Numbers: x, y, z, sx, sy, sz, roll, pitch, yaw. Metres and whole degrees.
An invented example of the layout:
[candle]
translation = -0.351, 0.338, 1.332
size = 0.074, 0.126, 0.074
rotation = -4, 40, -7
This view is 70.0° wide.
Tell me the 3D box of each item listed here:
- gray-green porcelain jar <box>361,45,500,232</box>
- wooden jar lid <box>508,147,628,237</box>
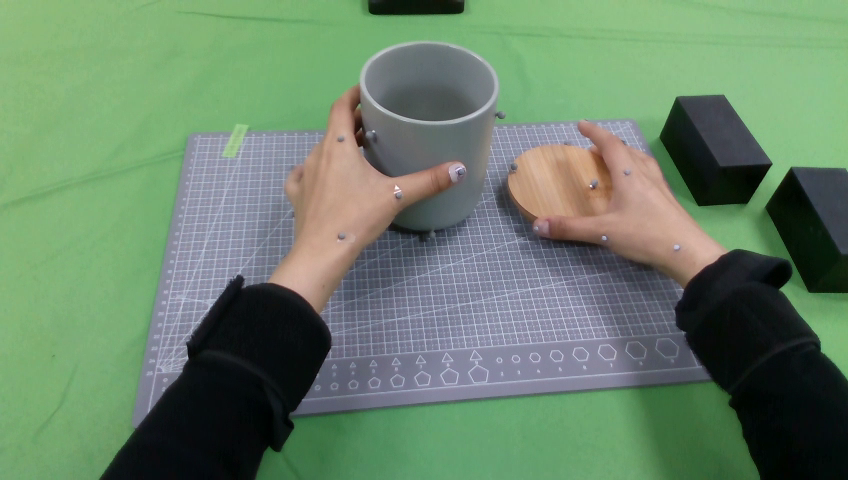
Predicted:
[gray-green porcelain jar]
translation = 0.002, -0.077, 0.501
size = 0.106, 0.127, 0.105
rotation = 2, 50, -2
[wooden jar lid]
translation = 0.129, -0.043, 0.551
size = 0.108, 0.021, 0.107
rotation = 2, 49, -1
